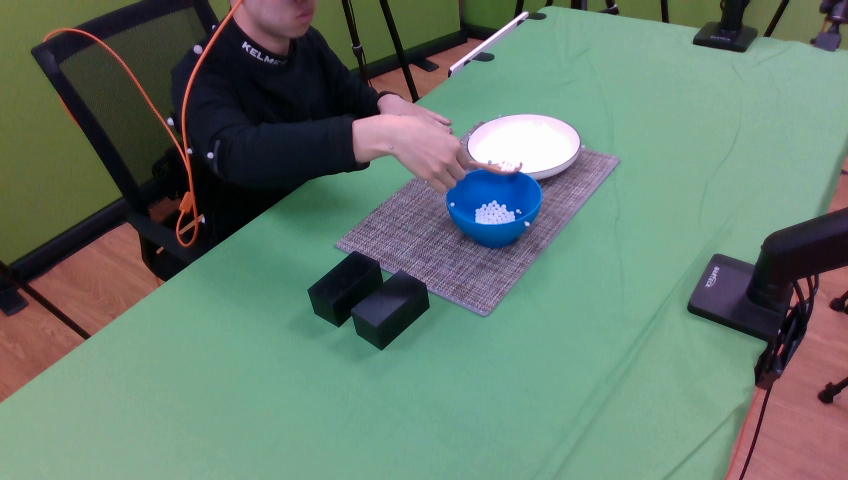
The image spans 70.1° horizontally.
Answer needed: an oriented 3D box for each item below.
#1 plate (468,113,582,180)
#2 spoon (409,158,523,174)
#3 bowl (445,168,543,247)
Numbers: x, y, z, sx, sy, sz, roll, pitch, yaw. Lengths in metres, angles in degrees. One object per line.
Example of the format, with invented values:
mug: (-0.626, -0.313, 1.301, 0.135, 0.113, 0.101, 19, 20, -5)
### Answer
plate: (0.186, -0.169, 1.122, 0.207, 0.039, 0.206, -4, 40, 4)
spoon: (0.066, -0.116, 0.923, 0.195, 0.021, 0.041, 1, 27, -26)
bowl: (0.111, -0.042, 0.952, 0.151, 0.077, 0.150, -4, 41, 4)
